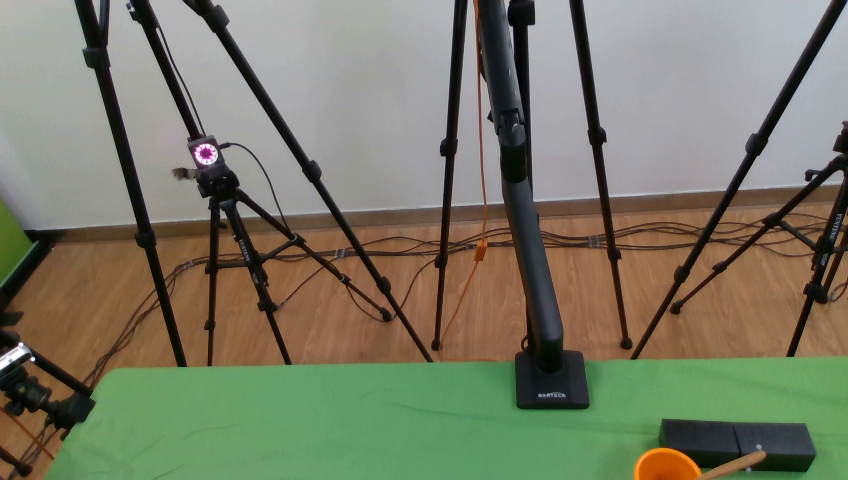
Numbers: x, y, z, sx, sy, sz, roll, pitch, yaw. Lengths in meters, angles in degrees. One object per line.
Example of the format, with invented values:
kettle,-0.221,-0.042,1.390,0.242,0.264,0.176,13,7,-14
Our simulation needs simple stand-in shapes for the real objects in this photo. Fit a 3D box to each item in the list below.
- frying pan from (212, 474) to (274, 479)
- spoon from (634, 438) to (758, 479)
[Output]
frying pan,-0.285,0.528,0.740,0.306,0.103,0.483,-4,33,8
spoon,0.364,0.311,0.823,0.022,0.194,0.041,26,39,-25
